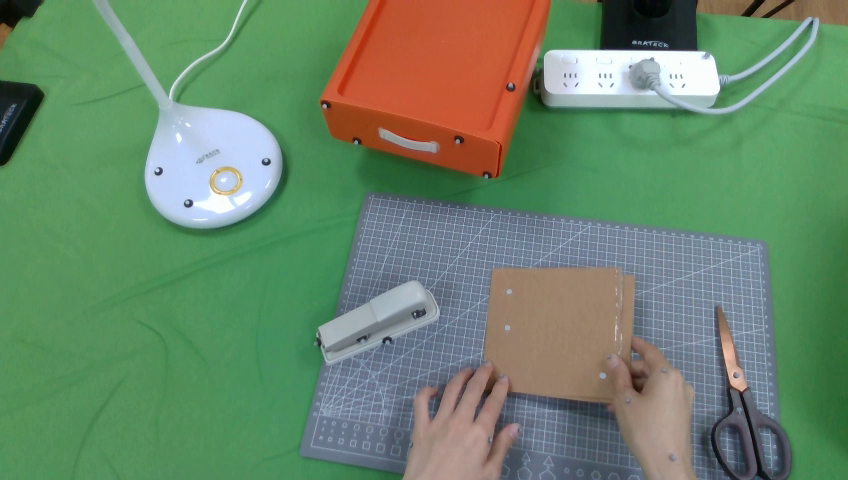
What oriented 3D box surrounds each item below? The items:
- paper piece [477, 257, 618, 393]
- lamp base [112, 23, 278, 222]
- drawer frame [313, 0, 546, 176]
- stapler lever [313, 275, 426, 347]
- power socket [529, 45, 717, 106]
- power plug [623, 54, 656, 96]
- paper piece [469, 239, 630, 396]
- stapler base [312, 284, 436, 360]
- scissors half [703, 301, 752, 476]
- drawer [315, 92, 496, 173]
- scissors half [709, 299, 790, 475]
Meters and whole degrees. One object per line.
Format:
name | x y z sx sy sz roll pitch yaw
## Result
paper piece | 0.125 0.082 0.611 0.135 0.009 0.137 -2 65 22
lamp base | -0.266 -0.133 0.654 0.178 0.182 0.160 39 72 22
drawer frame | 0.012 -0.201 0.684 0.201 0.083 0.212 16 67 10
stapler lever | -0.055 0.070 0.605 0.118 0.040 0.026 -22 62 -7
power socket | 0.245 -0.204 0.748 0.226 0.033 0.071 2 65 3
power plug | 0.252 -0.187 0.715 0.035 0.053 0.072 12 66 8
paper piece | 0.129 0.074 0.615 0.135 0.004 0.135 15 68 16
stapler base | -0.052 0.080 0.628 0.130 0.024 0.041 -23 63 -7
scissors half | 0.290 0.138 0.591 0.040 0.013 0.174 9 61 3
drawer | 0.011 -0.197 0.679 0.194 0.074 0.210 16 65 10
scissors half | 0.311 0.137 0.590 0.040 0.013 0.173 -10 61 -1
